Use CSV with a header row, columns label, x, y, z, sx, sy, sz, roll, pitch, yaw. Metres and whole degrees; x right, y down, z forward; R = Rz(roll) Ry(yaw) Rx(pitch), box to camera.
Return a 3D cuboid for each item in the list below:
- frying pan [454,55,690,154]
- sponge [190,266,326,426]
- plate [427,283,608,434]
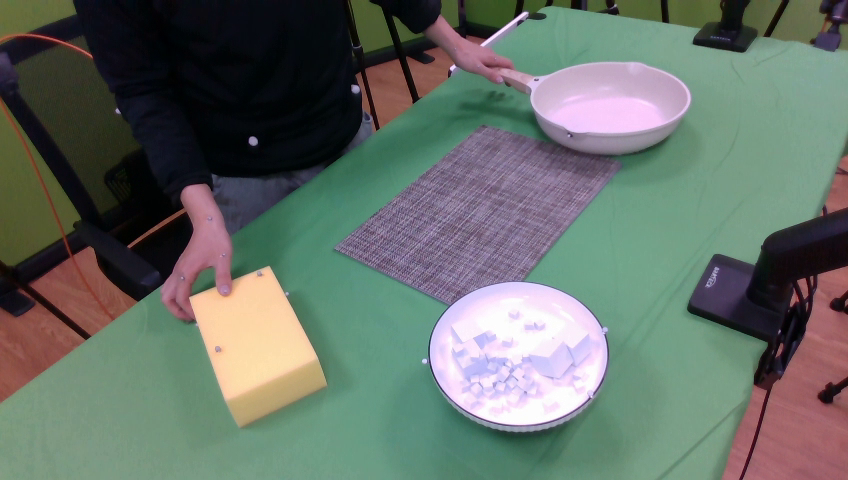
label,x,y,z,sx,sy,sz,roll,pitch,yaw
frying pan,0.270,-0.298,1.211,0.484,0.103,0.307,27,49,24
sponge,-0.227,0.134,0.815,0.119,0.061,0.205,-23,43,-19
plate,0.108,0.137,0.708,0.207,0.039,0.206,-4,42,4
